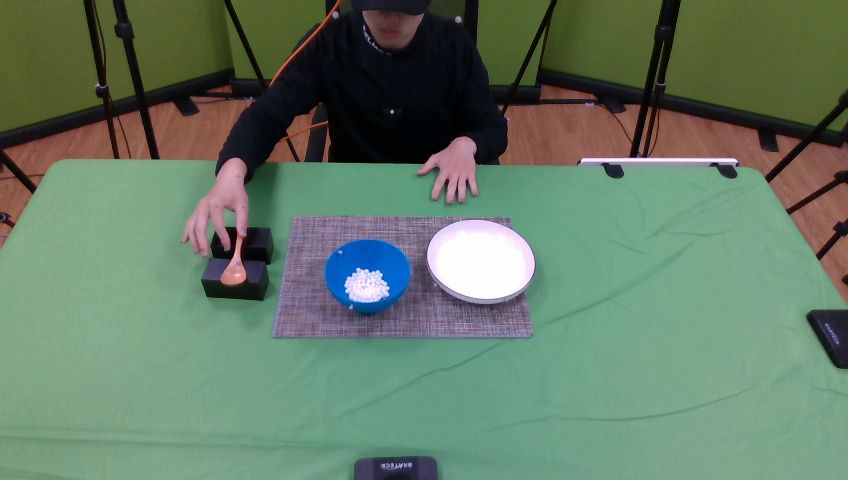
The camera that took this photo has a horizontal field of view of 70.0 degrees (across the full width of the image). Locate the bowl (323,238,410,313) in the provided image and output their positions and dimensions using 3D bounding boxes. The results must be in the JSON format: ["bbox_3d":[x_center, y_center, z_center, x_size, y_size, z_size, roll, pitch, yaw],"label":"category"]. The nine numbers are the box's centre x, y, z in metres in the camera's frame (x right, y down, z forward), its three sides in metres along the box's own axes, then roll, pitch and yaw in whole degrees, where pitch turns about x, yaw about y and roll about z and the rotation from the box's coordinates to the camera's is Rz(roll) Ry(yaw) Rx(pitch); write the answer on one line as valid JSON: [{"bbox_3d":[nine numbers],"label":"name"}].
[{"bbox_3d":[-0.101,0.077,1.073,0.151,0.077,0.150,2,46,-2],"label":"bowl"}]

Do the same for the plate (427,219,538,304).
[{"bbox_3d":[0.109,0.044,1.149,0.208,0.039,0.206,2,46,-2],"label":"plate"}]

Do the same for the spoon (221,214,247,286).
[{"bbox_3d":[-0.334,0.014,1.093,0.041,0.022,0.192,-2,45,-5],"label":"spoon"}]
